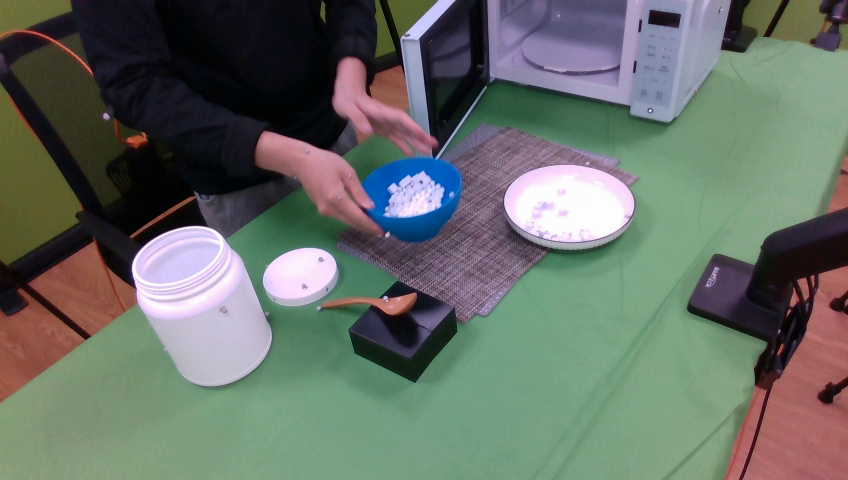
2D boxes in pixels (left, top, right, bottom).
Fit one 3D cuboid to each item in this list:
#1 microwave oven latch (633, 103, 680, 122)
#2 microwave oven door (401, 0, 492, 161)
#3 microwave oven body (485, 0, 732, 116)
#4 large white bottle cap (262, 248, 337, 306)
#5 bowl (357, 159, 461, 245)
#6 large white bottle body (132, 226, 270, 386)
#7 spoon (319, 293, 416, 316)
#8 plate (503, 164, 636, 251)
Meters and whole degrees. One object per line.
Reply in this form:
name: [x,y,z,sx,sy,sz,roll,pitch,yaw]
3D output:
microwave oven latch: [0.444,-0.249,1.157,0.078,0.029,0.030,21,49,30]
microwave oven door: [0.056,-0.343,1.167,0.039,0.245,0.356,11,44,21]
microwave oven body: [0.377,-0.462,1.267,0.438,0.261,0.327,21,49,30]
large white bottle cap: [-0.193,0.056,0.934,0.115,0.018,0.114,-4,41,4]
bowl: [-0.017,-0.046,0.884,0.151,0.077,0.150,-5,39,5]
large white bottle body: [-0.286,0.085,0.784,0.130,0.185,0.130,-4,41,4]
spoon: [-0.082,0.086,0.826,0.192,0.022,0.041,-3,39,41]
plate: [0.232,-0.051,0.976,0.209,0.038,0.208,-3,41,3]
